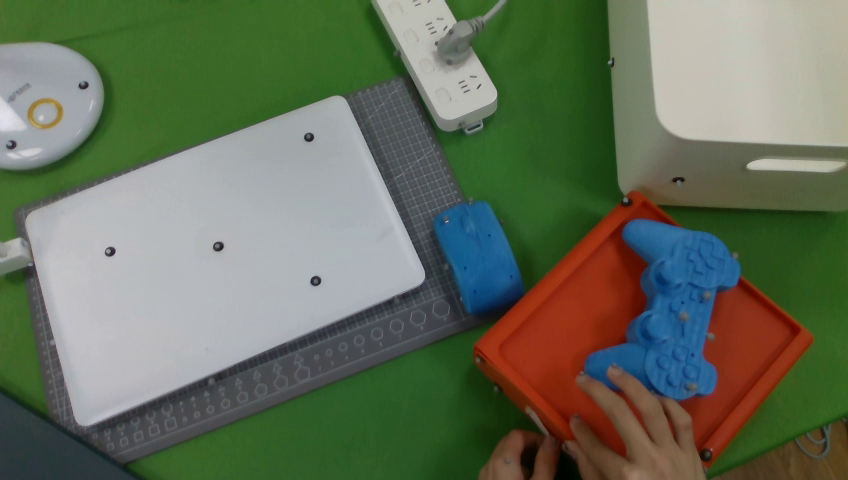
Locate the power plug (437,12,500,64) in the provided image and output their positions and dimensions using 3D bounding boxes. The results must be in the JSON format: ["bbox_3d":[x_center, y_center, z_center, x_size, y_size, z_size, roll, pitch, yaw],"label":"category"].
[{"bbox_3d":[0.050,-0.211,0.656,0.072,0.053,0.035,-13,69,-4],"label":"power plug"}]

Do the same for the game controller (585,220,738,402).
[{"bbox_3d":[0.200,0.058,0.502,0.097,0.052,0.154,20,73,6],"label":"game controller"}]

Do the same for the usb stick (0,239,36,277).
[{"bbox_3d":[-0.410,0.016,0.608,0.059,0.027,0.021,-19,66,-7],"label":"usb stick"}]

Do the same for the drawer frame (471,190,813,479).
[{"bbox_3d":[0.184,0.099,0.542,0.213,0.083,0.200,-43,74,-12],"label":"drawer frame"}]

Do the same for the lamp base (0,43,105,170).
[{"bbox_3d":[-0.452,-0.182,0.608,0.178,0.181,0.160,26,73,14],"label":"lamp base"}]

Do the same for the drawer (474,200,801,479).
[{"bbox_3d":[0.184,0.102,0.542,0.211,0.074,0.193,-43,74,-13],"label":"drawer"}]

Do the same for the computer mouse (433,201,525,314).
[{"bbox_3d":[0.053,0.014,0.596,0.063,0.041,0.116,-18,67,-3],"label":"computer mouse"}]

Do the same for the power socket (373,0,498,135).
[{"bbox_3d":[0.010,-0.219,0.685,0.072,0.033,0.225,-23,71,-8],"label":"power socket"}]

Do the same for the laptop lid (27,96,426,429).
[{"bbox_3d":[-0.201,0.009,0.606,0.357,0.013,0.240,-22,74,-6],"label":"laptop lid"}]

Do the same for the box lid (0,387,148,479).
[{"bbox_3d":[-0.373,0.298,0.527,0.370,0.015,0.262,26,74,10],"label":"box lid"}]

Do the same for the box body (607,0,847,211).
[{"bbox_3d":[0.324,-0.217,0.605,0.254,0.161,0.361,2,71,2],"label":"box body"}]

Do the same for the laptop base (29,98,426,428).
[{"bbox_3d":[-0.202,0.011,0.618,0.354,0.023,0.234,-23,75,-6],"label":"laptop base"}]
